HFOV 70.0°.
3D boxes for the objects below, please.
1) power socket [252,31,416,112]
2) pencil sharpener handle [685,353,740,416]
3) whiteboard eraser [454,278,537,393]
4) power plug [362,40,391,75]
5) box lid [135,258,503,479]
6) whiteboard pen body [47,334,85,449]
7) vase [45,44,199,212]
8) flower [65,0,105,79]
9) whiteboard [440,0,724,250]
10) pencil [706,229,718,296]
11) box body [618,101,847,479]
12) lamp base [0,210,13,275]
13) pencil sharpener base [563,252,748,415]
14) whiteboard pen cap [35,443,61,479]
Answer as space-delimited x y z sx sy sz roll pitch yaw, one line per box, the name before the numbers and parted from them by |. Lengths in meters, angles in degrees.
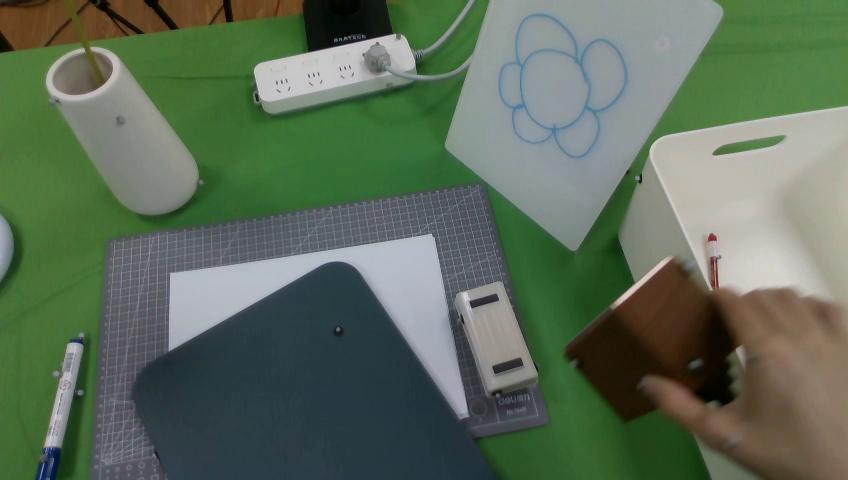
power socket | -0.118 -0.226 0.808 0.227 0.033 0.071 -14 64 -8
pencil sharpener handle | 0.193 0.099 0.397 0.036 0.068 0.030 -39 75 -9
whiteboard eraser | 0.073 0.098 0.628 0.056 0.042 0.111 -14 63 -9
power plug | -0.061 -0.226 0.781 0.035 0.053 0.072 -6 63 -2
box lid | -0.098 0.207 0.590 0.263 0.015 0.368 -31 67 -15
whiteboard pen body | -0.362 0.161 0.610 0.017 0.017 0.139 -6 58 -2
vase | -0.321 -0.113 0.656 0.098 0.201 0.097 -1 62 2
flower | -0.319 -0.169 0.592 0.038 0.365 0.043 -20 45 -18
whiteboard | 0.177 -0.181 0.664 0.144 0.307 0.215 -31 64 -36
pencil | 0.314 0.075 0.654 0.012 0.012 0.192 8 65 5
box body | 0.365 0.070 0.576 0.254 0.161 0.360 -10 62 -5
lamp base | -0.562 -0.022 0.619 0.178 0.182 0.160 20 63 14
pencil sharpener base | 0.156 0.070 0.420 0.061 0.107 0.076 -36 74 -22
whiteboard pen cap | -0.358 0.211 0.579 0.018 0.018 0.033 -5 56 -2
